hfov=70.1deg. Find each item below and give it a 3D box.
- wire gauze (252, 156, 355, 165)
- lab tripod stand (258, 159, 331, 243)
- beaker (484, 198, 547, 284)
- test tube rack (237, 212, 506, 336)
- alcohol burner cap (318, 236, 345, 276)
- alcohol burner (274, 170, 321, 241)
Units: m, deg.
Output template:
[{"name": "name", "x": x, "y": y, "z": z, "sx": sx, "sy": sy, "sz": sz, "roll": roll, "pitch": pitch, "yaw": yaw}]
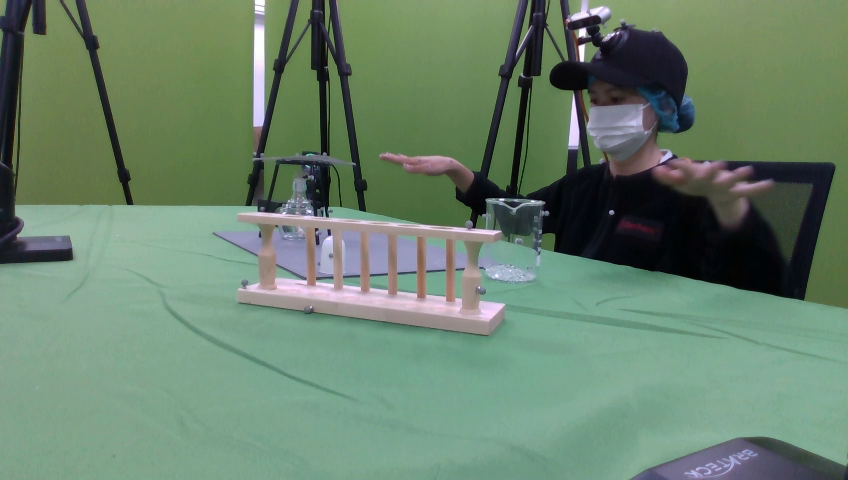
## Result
[{"name": "wire gauze", "x": -0.196, "y": -0.133, "z": 0.999, "sx": 0.121, "sy": 0.011, "sz": 0.125, "roll": 4, "pitch": 5, "yaw": 22}, {"name": "lab tripod stand", "x": -0.202, "y": -0.067, "z": 1.010, "sx": 0.148, "sy": 0.131, "sz": 0.148, "roll": 2, "pitch": 5, "yaw": 0}, {"name": "beaker", "x": 0.111, "y": 0.000, "z": 0.744, "sx": 0.074, "sy": 0.100, "sz": 0.084, "roll": 3, "pitch": 8, "yaw": 9}, {"name": "test tube rack", "x": -0.049, "y": 0.024, "z": 0.552, "sx": 0.242, "sy": 0.085, "sz": 0.067, "roll": 5, "pitch": 8, "yaw": 18}, {"name": "alcohol burner cap", "x": -0.110, "y": 0.019, "z": 0.723, "sx": 0.034, "sy": 0.048, "sz": 0.034, "roll": 2, "pitch": 6, "yaw": 0}, {"name": "alcohol burner", "x": -0.212, "y": -0.058, "z": 1.015, "sx": 0.078, "sy": 0.119, "sz": 0.078, "roll": 4, "pitch": 5, "yaw": 0}]
